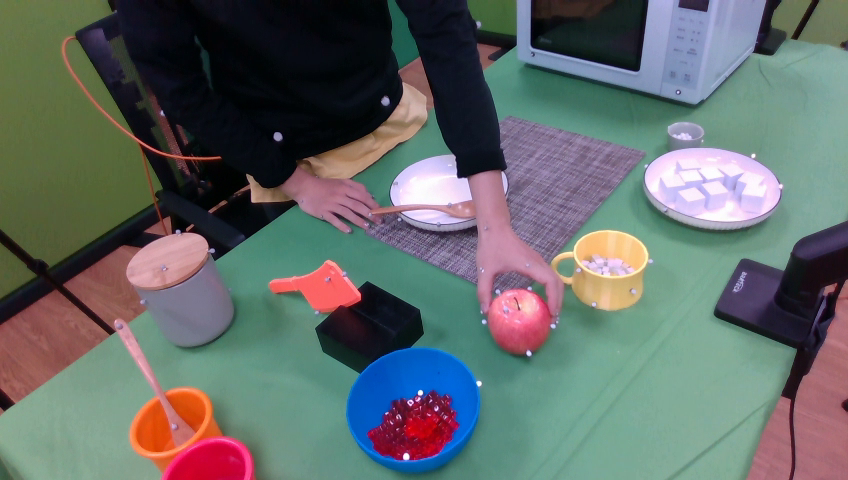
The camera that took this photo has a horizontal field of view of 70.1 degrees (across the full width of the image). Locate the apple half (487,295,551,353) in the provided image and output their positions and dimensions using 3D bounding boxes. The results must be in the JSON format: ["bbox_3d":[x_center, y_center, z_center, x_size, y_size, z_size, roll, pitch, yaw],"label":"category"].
[{"bbox_3d":[0.123,0.113,0.768,0.081,0.075,0.053,-3,43,-3],"label":"apple half"}]

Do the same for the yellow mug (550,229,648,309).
[{"bbox_3d":[0.245,0.040,0.857,0.130,0.064,0.099,1,42,11],"label":"yellow mug"}]

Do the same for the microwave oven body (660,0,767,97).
[{"bbox_3d":[0.474,-0.516,1.313,0.438,0.261,0.327,26,51,34],"label":"microwave oven body"}]

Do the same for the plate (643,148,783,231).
[{"bbox_3d":[0.464,-0.079,0.986,0.207,0.039,0.206,-4,40,4],"label":"plate"}]

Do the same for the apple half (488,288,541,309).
[{"bbox_3d":[0.120,0.087,0.797,0.081,0.081,0.032,-7,45,1],"label":"apple half"}]

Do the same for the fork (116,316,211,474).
[{"bbox_3d":[-0.307,0.179,0.708,0.028,0.018,0.207,-30,89,-15],"label":"fork"}]

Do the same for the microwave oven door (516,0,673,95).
[{"bbox_3d":[0.344,-0.458,1.256,0.353,0.245,0.039,26,51,33],"label":"microwave oven door"}]

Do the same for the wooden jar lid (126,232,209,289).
[{"bbox_3d":[-0.340,0.030,0.809,0.108,0.021,0.108,-5,39,5],"label":"wooden jar lid"}]

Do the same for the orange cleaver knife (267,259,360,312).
[{"bbox_3d":[-0.161,0.070,0.859,0.210,0.077,0.012,-13,22,49],"label":"orange cleaver knife"}]

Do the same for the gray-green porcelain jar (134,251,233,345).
[{"bbox_3d":[-0.334,0.076,0.849,0.106,0.127,0.105,-4,41,4],"label":"gray-green porcelain jar"}]

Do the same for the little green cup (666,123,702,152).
[{"bbox_3d":[0.472,-0.183,1.102,0.061,0.039,0.061,-6,40,5],"label":"little green cup"}]

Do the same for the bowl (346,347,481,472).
[{"bbox_3d":[-0.008,0.205,0.691,0.151,0.077,0.150,-4,40,4],"label":"bowl"}]

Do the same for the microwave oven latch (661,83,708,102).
[{"bbox_3d":[0.516,-0.298,1.202,0.078,0.029,0.030,25,51,33],"label":"microwave oven latch"}]

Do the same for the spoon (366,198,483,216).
[{"bbox_3d":[0.002,-0.054,0.996,0.194,0.022,0.041,0,45,-10],"label":"spoon"}]

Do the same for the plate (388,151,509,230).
[{"bbox_3d":[0.044,-0.082,1.042,0.209,0.038,0.208,-4,40,4],"label":"plate"}]
